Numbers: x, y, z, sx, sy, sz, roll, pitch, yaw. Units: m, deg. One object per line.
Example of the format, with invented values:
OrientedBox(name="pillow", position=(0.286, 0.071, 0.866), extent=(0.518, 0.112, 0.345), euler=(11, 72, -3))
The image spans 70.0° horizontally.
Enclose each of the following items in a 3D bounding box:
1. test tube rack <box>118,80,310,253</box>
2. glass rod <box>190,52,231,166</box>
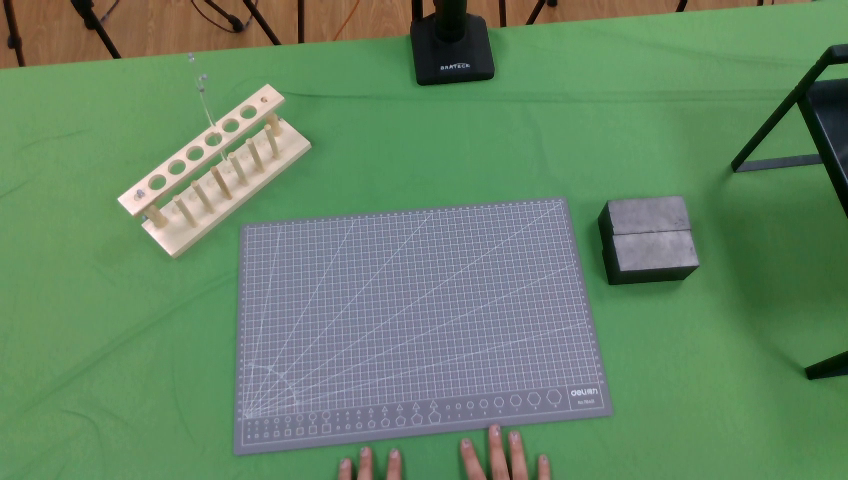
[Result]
OrientedBox(name="test tube rack", position=(-0.270, -0.099, 0.808), extent=(0.066, 0.086, 0.242), euler=(41, 72, 16))
OrientedBox(name="glass rod", position=(-0.265, -0.157, 0.762), extent=(0.008, 0.201, 0.008), euler=(2, 59, -3))
